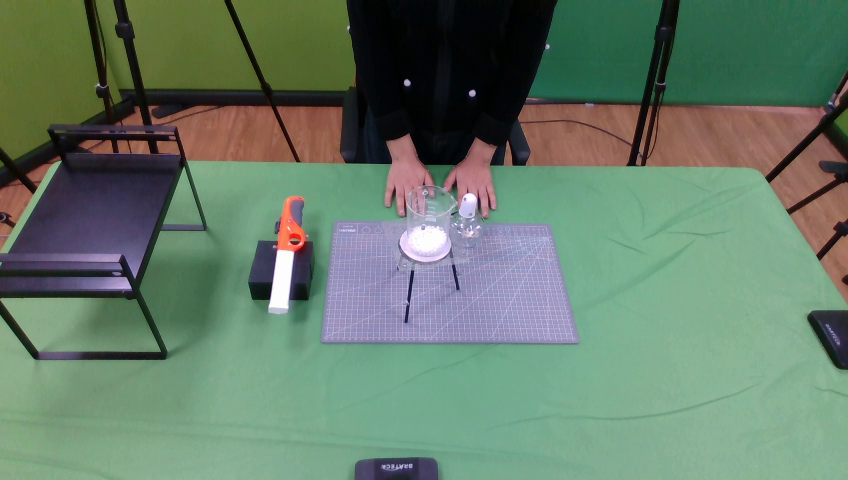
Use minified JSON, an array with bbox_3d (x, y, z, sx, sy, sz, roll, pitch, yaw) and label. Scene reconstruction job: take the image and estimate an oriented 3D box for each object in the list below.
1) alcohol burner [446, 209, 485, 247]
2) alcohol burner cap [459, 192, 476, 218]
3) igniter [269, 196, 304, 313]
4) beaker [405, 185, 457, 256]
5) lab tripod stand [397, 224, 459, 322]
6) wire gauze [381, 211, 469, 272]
[{"bbox_3d":[0.082,-0.044,1.179,0.078,0.120,0.077,2,44,-1],"label":"alcohol burner"},{"bbox_3d":[0.085,-0.068,1.153,0.034,0.048,0.033,3,45,-3],"label":"alcohol burner cap"},{"bbox_3d":[-0.249,0.016,1.095,0.057,0.025,0.274,8,46,-13],"label":"igniter"},{"bbox_3d":[0.009,-0.029,0.988,0.084,0.101,0.073,-1,47,-5],"label":"beaker"},{"bbox_3d":[-0.003,0.052,1.067,0.148,0.132,0.147,3,48,-3],"label":"lab tripod stand"},{"bbox_3d":[0.000,0.001,1.024,0.125,0.011,0.120,-11,48,-12],"label":"wire gauze"}]
